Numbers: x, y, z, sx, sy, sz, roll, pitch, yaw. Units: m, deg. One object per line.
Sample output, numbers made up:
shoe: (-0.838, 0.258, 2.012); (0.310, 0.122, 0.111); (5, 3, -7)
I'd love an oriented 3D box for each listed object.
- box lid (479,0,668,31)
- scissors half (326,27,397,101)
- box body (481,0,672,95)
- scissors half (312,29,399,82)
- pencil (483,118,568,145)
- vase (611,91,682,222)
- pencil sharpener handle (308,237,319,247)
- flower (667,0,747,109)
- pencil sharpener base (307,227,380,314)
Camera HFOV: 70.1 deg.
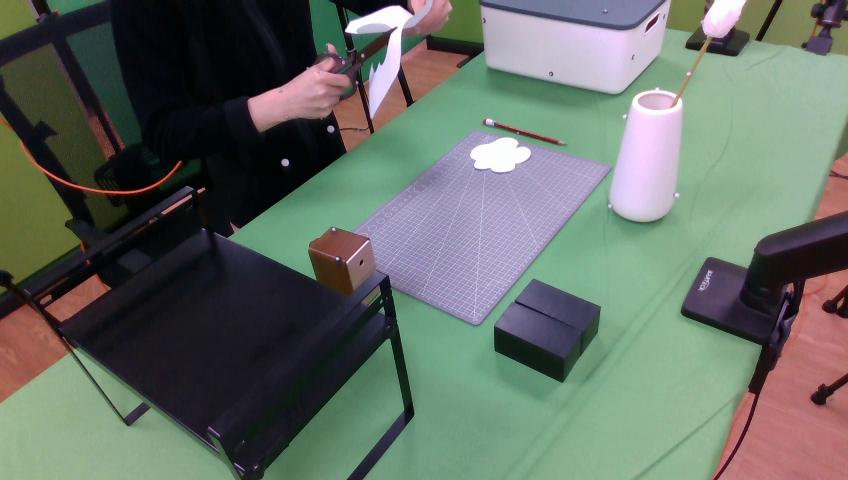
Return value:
box lid: (0.335, -0.536, 1.331); (0.368, 0.015, 0.264); (23, 49, 30)
scissors half: (-0.095, -0.269, 0.929); (0.040, 0.174, 0.013); (45, 41, -10)
box body: (0.341, -0.480, 1.381); (0.361, 0.161, 0.255); (22, 48, 30)
scissors half: (-0.108, -0.285, 0.923); (0.174, 0.040, 0.013); (-13, 32, 32)
pencil: (0.202, -0.217, 1.212); (0.192, 0.012, 0.012); (24, 49, 29)
vase: (0.348, -0.125, 0.935); (0.098, 0.201, 0.097); (-3, 40, 3)
pencil sharpener handle: (-0.158, 0.017, 0.892); (0.030, 0.068, 0.036); (18, 62, 28)
flower: (0.354, -0.187, 0.879); (0.038, 0.362, 0.044); (30, 48, 14)
pencil sharpener base: (-0.116, 0.043, 0.875); (0.076, 0.107, 0.061); (18, 47, 27)
